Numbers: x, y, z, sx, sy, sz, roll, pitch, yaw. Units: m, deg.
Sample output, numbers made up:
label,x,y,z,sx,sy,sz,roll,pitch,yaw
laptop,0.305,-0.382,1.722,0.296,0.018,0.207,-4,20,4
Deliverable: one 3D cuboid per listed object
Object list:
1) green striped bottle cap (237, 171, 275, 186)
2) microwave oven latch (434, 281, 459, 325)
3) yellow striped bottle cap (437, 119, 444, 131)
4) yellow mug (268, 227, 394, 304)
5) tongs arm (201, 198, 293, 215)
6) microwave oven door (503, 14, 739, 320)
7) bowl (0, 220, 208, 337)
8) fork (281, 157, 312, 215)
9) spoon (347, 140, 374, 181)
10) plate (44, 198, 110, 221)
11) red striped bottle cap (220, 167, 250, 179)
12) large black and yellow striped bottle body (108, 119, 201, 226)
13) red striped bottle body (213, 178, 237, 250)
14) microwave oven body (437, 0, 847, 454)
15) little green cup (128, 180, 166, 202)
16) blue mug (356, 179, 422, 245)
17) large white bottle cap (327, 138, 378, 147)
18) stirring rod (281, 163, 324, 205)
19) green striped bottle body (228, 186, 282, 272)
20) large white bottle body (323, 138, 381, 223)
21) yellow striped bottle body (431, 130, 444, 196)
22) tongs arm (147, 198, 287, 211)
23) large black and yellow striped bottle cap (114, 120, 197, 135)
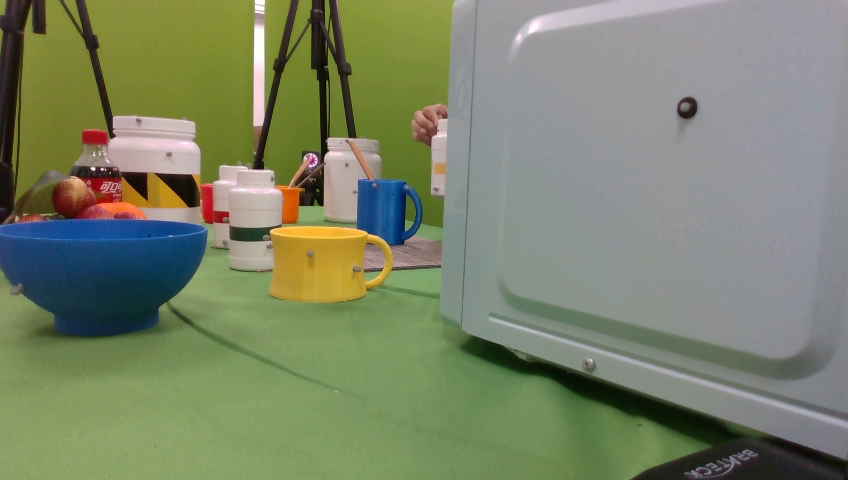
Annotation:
label,x,y,z,sx,sy,sz,roll,pitch,yaw
green striped bottle cap,-0.205,-0.075,0.738,0.044,0.020,0.044,1,8,0
microwave oven latch,0.044,0.045,0.470,0.079,0.029,0.030,-2,8,-39
yellow striped bottle cap,0.043,-0.185,0.976,0.044,0.018,0.044,0,8,0
yellow mug,-0.094,0.023,0.629,0.131,0.064,0.099,0,7,-22
tongs arm,-0.423,-0.084,1.472,0.050,0.026,0.386,2,6,21
microwave oven door,0.217,-0.065,0.601,0.358,0.243,0.039,-4,10,-41
bowl,-0.251,0.029,0.479,0.151,0.077,0.151,2,7,0
fork,-0.289,-0.116,1.321,0.028,0.019,0.207,6,51,19
spoon,-0.089,-0.094,1.028,0.042,0.193,0.021,-4,-26,-45
plate,-0.617,-0.056,1.179,0.209,0.038,0.209,3,7,0
red striped bottle cap,-0.281,-0.100,0.901,0.044,0.017,0.044,-1,5,0
large black and yellow striped bottle body,-0.412,-0.088,0.930,0.131,0.184,0.130,3,7,0
red striped bottle body,-0.284,-0.048,0.909,0.063,0.119,0.063,3,10,0
microwave oven body,0.279,-0.040,0.464,0.444,0.260,0.324,-3,9,-41
little green cup,-0.485,-0.087,1.062,0.061,0.038,0.061,-1,6,0
blue mug,-0.057,-0.046,1.006,0.116,0.106,0.082,5,8,21
large white bottle cap,-0.160,-0.218,1.357,0.115,0.018,0.115,2,8,0
stirring rod,-0.278,-0.105,1.293,0.176,0.006,0.014,-47,25,-18
green striped bottle body,-0.208,-0.023,0.745,0.063,0.119,0.063,2,7,0
large white bottle body,-0.163,-0.135,1.368,0.131,0.184,0.130,2,7,0
yellow striped bottle body,0.042,-0.132,0.982,0.063,0.120,0.063,0,8,0
tongs arm,-0.504,-0.091,1.513,0.028,0.028,0.389,-1,4,37
large black and yellow striped bottle cap,-0.407,-0.171,0.920,0.115,0.019,0.115,2,9,0
